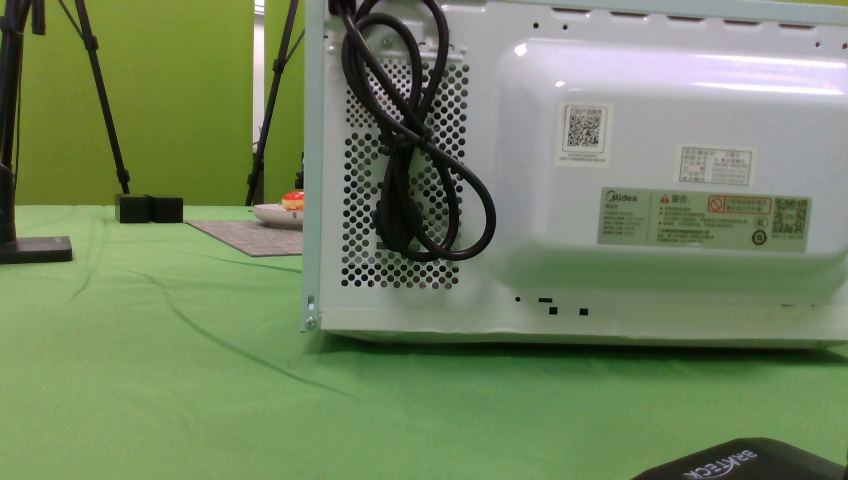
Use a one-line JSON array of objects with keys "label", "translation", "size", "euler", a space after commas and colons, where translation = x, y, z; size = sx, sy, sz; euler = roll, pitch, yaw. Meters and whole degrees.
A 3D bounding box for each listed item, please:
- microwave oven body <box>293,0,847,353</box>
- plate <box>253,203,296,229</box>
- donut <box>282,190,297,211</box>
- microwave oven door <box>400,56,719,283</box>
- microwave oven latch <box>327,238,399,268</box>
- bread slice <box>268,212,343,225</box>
[{"label": "microwave oven body", "translation": [0.122, -0.055, 0.550], "size": [0.442, 0.260, 0.325], "euler": [3, 7, -5]}, {"label": "plate", "translation": [-0.238, -0.048, 1.226], "size": [0.208, 0.039, 0.207], "euler": [3, 7, 0]}, {"label": "donut", "translation": [-0.239, -0.077, 1.232], "size": [0.099, 0.048, 0.099], "euler": [2, 4, 0]}, {"label": "microwave oven door", "translation": [0.155, -0.077, 0.697], "size": [0.356, 0.243, 0.039], "euler": [2, 8, -5]}, {"label": "microwave oven latch", "translation": [-0.069, 0.015, 0.694], "size": [0.079, 0.029, 0.030], "euler": [3, 7, -3]}, {"label": "bread slice", "translation": [-0.244, -0.045, 1.220], "size": [0.104, 0.019, 0.132], "euler": [6, 7, 36]}]
